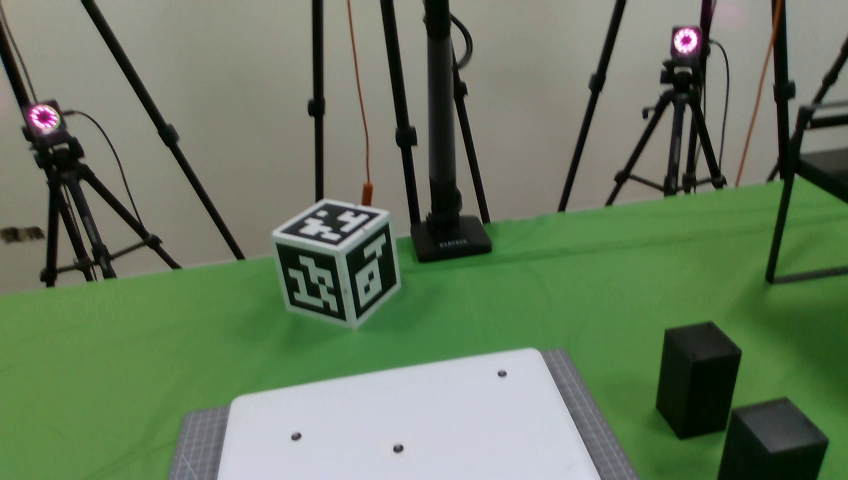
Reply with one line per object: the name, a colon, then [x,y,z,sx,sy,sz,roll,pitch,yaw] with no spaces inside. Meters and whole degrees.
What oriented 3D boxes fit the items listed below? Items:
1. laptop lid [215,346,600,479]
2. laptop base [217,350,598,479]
laptop lid: [-0.026,0.204,0.592,0.357,0.013,0.239,-7,30,-4]
laptop base: [-0.025,0.214,0.600,0.355,0.023,0.233,-8,31,-6]
